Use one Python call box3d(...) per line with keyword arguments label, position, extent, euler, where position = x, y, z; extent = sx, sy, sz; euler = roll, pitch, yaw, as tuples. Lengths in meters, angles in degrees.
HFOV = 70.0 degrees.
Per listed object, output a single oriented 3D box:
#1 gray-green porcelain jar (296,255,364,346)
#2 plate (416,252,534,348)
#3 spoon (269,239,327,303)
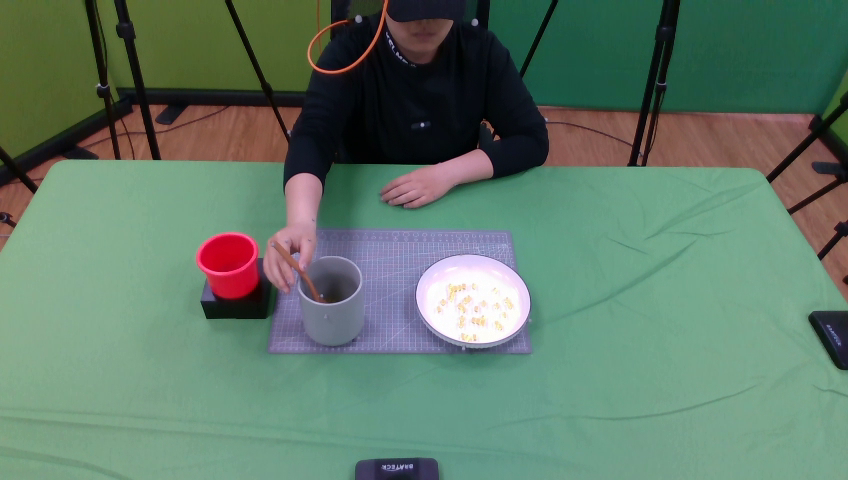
box3d(label="gray-green porcelain jar", position=(-0.153, 0.106, 1.008), extent=(0.106, 0.127, 0.105), euler=(2, 46, -2))
box3d(label="plate", position=(0.090, 0.109, 1.084), extent=(0.208, 0.039, 0.206), euler=(2, 46, -2))
box3d(label="spoon", position=(-0.190, 0.067, 0.975), extent=(0.021, 0.195, 0.041), euler=(-19, 36, 11))
